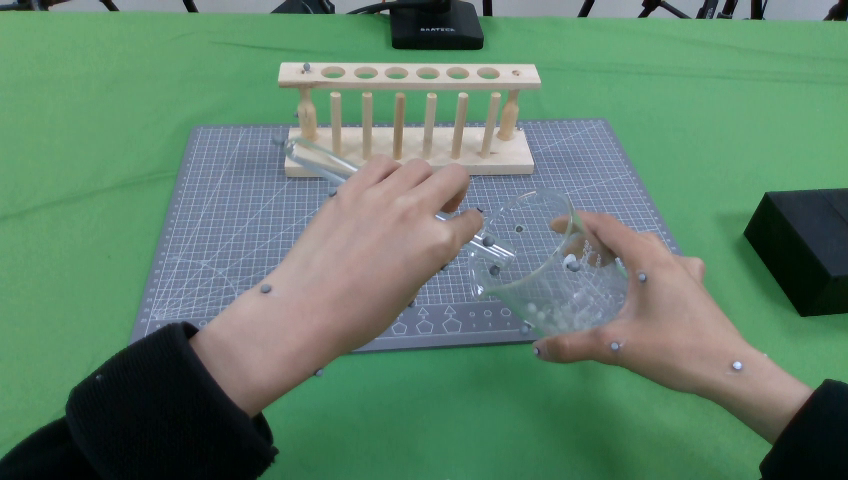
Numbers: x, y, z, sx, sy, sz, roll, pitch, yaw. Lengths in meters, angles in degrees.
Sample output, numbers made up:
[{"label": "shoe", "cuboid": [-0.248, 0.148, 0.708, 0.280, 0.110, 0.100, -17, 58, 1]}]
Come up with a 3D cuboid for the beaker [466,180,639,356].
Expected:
[{"label": "beaker", "cuboid": [0.084, 0.025, 0.386, 0.084, 0.101, 0.073, -50, 32, -2]}]

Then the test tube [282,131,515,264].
[{"label": "test tube", "cuboid": [-0.013, -0.024, 0.356, 0.151, 0.017, 0.017, 27, 45, -10]}]

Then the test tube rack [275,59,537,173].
[{"label": "test tube rack", "cuboid": [-0.016, -0.120, 0.586, 0.243, 0.086, 0.066, -1, 45, -6]}]
